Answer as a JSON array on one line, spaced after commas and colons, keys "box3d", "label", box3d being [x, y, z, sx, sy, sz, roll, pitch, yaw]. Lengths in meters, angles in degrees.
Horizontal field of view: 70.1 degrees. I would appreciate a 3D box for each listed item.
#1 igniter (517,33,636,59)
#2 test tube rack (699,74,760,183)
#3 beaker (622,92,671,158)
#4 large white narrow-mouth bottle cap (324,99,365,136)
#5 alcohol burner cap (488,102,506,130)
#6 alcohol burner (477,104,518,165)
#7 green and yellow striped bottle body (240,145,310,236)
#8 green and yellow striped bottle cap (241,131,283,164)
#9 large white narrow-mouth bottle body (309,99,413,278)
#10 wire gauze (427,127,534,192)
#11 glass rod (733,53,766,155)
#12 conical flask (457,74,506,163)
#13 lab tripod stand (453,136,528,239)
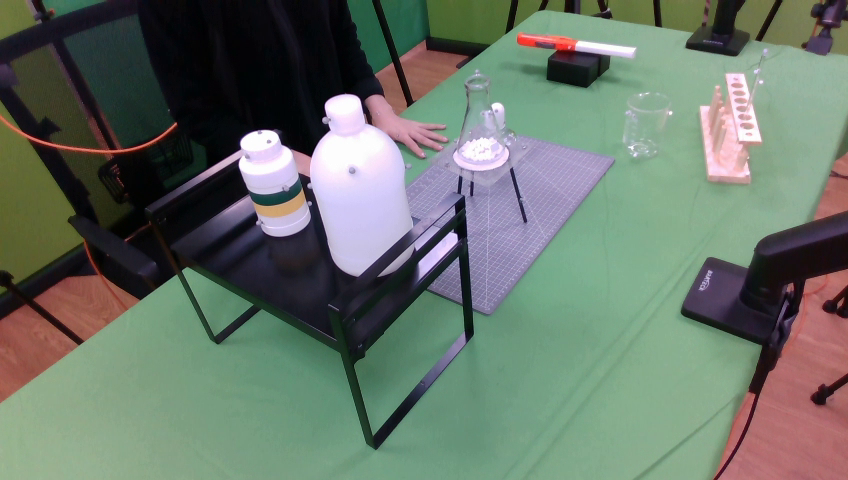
[{"box3d": [0.336, -0.441, 1.369, 0.275, 0.025, 0.057, 16, 41, 23], "label": "igniter"}, {"box3d": [0.547, -0.208, 1.095, 0.066, 0.085, 0.242, 6, 42, 16], "label": "test tube rack"}, {"box3d": [0.402, -0.210, 1.106, 0.074, 0.101, 0.083, -9, 40, -2], "label": "beaker"}, {"box3d": [-0.076, -0.119, 0.586, 0.038, 0.024, 0.037, -3, 42, 3], "label": "large white narrow-mouth bottle cap"}, {"box3d": [0.133, -0.227, 1.092, 0.034, 0.048, 0.033, -2, 47, 2], "label": "alcohol burner cap"}, {"box3d": [0.135, -0.199, 1.117, 0.078, 0.119, 0.077, -4, 43, 4], "label": "alcohol burner"}, {"box3d": [-0.181, -0.068, 0.729, 0.063, 0.120, 0.063, -4, 40, 4], "label": "green and yellow striped bottle body"}, {"box3d": [-0.187, -0.107, 0.695, 0.045, 0.020, 0.045, -3, 39, 3], "label": "green and yellow striped bottle cap"}, {"box3d": [-0.068, -0.057, 0.644, 0.102, 0.195, 0.101, -3, 42, 4], "label": "large white narrow-mouth bottle body"}, {"box3d": [0.086, -0.130, 0.925, 0.124, 0.011, 0.122, 28, 54, 31], "label": "wire gauze"}, {"box3d": [0.540, -0.219, 1.006, 0.008, 0.201, 0.008, -5, 45, 6], "label": "glass rod"}, {"box3d": [0.082, -0.181, 0.893, 0.075, 0.122, 0.075, -4, 41, 4], "label": "conical flask"}, {"box3d": [0.095, -0.086, 0.974, 0.148, 0.132, 0.147, -4, 43, 4], "label": "lab tripod stand"}]
